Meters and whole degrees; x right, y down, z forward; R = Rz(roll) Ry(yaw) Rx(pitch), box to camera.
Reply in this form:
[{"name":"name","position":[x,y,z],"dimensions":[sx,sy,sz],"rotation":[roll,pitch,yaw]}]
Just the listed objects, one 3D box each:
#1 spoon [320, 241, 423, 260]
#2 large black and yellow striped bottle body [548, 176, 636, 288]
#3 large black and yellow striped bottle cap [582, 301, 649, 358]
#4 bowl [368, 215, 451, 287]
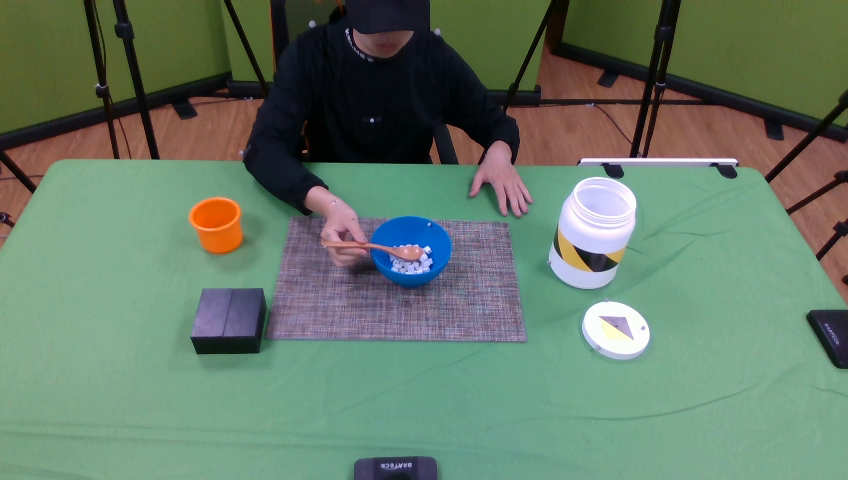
[{"name":"spoon","position":[-0.091,0.013,1.079],"dimensions":[0.194,0.022,0.041],"rotation":[9,34,-28]},{"name":"large black and yellow striped bottle body","position":[0.310,-0.014,1.123],"dimensions":[0.131,0.185,0.130],"rotation":[2,46,-2]},{"name":"large black and yellow striped bottle cap","position":[0.340,0.157,1.077],"dimensions":[0.115,0.019,0.114],"rotation":[1,47,-1]},{"name":"bowl","position":[-0.028,0.033,1.120],"dimensions":[0.151,0.077,0.150],"rotation":[2,46,-2]}]
